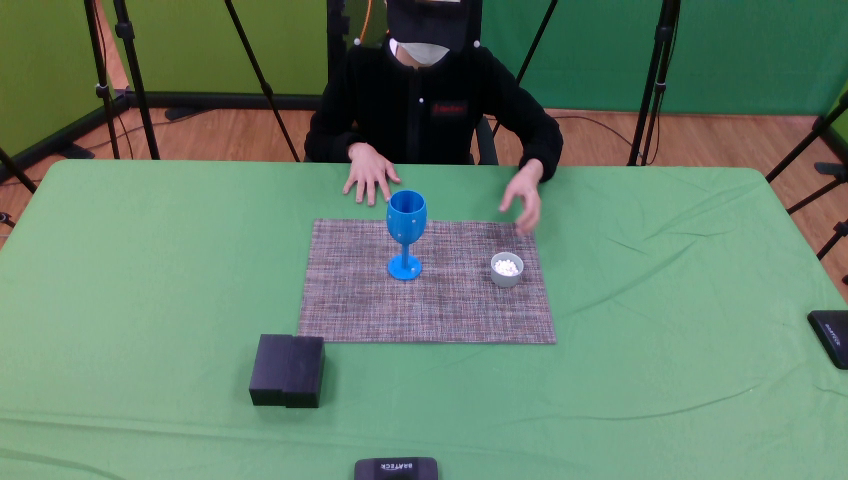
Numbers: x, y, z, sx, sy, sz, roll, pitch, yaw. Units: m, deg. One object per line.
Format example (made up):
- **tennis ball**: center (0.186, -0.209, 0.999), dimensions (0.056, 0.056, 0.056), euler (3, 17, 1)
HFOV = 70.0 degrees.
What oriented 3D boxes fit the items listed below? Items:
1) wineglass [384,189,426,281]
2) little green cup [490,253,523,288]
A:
- **wineglass**: center (-0.035, -0.006, 1.091), dimensions (0.074, 0.173, 0.073), euler (2, 46, -2)
- **little green cup**: center (0.153, 0.059, 1.137), dimensions (0.061, 0.039, 0.061), euler (2, 47, -2)
